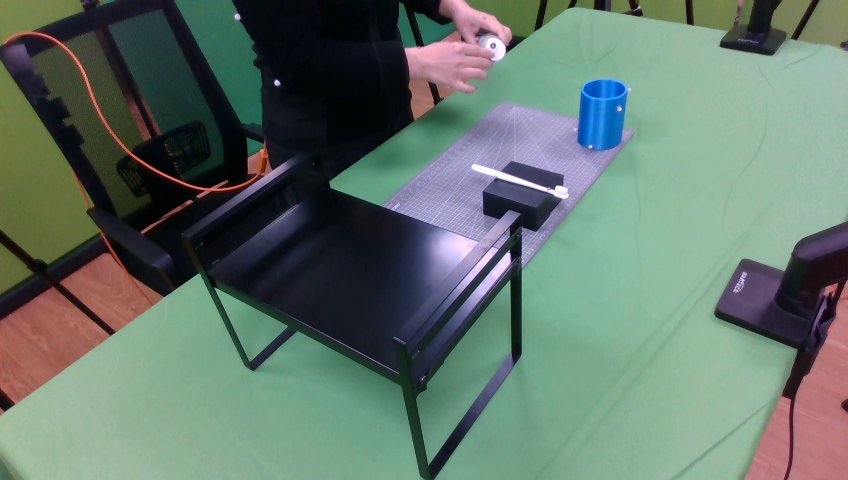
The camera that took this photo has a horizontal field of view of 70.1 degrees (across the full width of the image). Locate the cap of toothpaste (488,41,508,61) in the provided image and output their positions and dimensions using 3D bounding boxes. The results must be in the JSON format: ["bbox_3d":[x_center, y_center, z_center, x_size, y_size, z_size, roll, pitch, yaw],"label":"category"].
[{"bbox_3d":[0.135,-0.348,1.111,0.037,0.037,0.011,-7,28,1],"label":"cap of toothpaste"}]

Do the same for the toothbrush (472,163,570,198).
[{"bbox_3d":[0.157,-0.101,0.996,0.180,0.017,0.014,22,55,30],"label":"toothbrush"}]

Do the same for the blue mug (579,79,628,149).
[{"bbox_3d":[0.336,-0.246,1.143,0.082,0.106,0.116,0,41,10],"label":"blue mug"}]

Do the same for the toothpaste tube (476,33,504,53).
[{"bbox_3d":[0.136,-0.385,1.180,0.055,0.034,0.164,-9,28,2],"label":"toothpaste tube"}]
